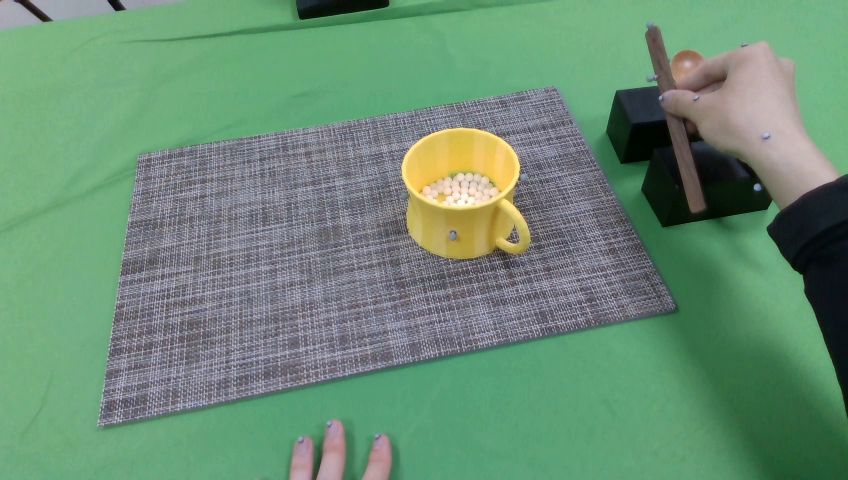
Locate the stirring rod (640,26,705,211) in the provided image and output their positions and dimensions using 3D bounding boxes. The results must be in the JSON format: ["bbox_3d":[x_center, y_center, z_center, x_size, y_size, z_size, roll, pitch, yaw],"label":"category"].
[{"bbox_3d":[0.210,-0.107,0.515,0.006,0.014,0.175,7,67,-38],"label":"stirring rod"}]

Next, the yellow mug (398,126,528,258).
[{"bbox_3d":[0.040,-0.034,0.523,0.100,0.064,0.129,-37,59,-24],"label":"yellow mug"}]

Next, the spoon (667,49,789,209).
[{"bbox_3d":[0.268,-0.104,0.537,0.042,0.022,0.191,-10,53,-6],"label":"spoon"}]
